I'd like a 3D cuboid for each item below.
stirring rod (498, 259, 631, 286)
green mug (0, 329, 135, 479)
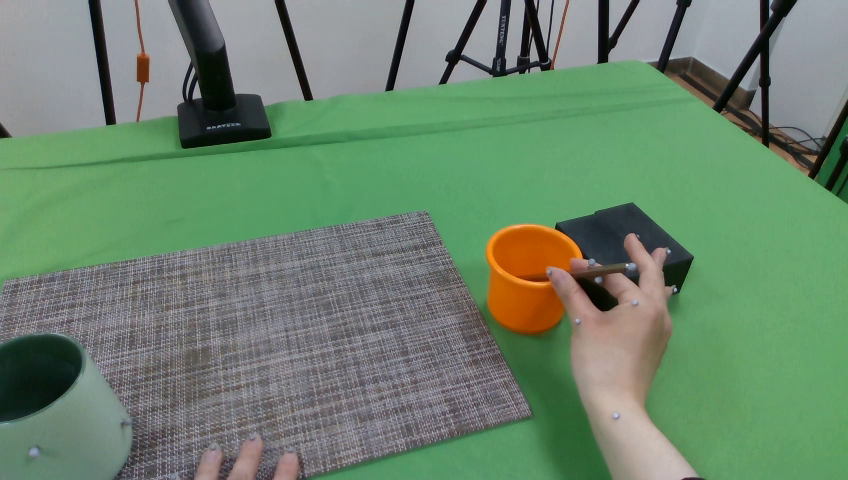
[{"bbox_3d":[0.121,0.031,0.554,0.014,0.006,0.175,-33,8,-27],"label":"stirring rod"},{"bbox_3d":[-0.283,0.133,0.430,0.125,0.106,0.091,-18,44,-22],"label":"green mug"}]
